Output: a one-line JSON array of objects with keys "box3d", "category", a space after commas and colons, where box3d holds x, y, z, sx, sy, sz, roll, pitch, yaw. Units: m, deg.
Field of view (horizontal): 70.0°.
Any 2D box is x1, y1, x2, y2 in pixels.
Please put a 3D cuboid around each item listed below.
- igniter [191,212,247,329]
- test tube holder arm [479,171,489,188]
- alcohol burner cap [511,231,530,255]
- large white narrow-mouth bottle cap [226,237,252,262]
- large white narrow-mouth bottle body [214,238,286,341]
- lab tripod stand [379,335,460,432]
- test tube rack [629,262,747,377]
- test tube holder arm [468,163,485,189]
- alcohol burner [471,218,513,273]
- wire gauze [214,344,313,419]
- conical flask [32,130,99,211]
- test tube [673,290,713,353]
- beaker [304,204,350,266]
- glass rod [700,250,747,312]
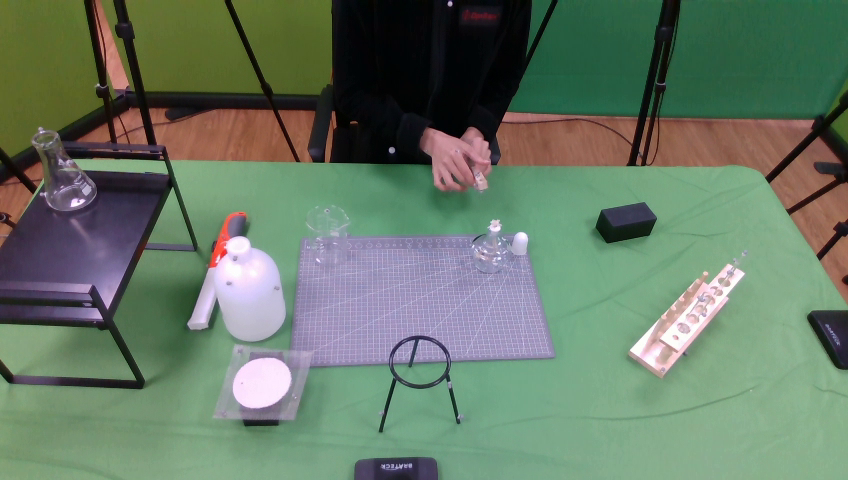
[{"box3d": [-0.376, 0.047, 1.121, 0.057, 0.025, 0.275, -4, 46, 6], "category": "igniter"}, {"box3d": [0.109, -0.113, 1.127, 0.010, 0.015, 0.087, -5, 18, -3], "category": "test tube holder arm"}, {"box3d": [0.191, 0.003, 1.188, 0.034, 0.048, 0.033, 2, 46, -2], "category": "alcohol burner cap"}, {"box3d": [-0.282, 0.014, 0.923, 0.038, 0.024, 0.037, 2, 46, -2], "category": "large white narrow-mouth bottle cap"}, {"box3d": [-0.285, 0.073, 0.986, 0.102, 0.195, 0.101, 2, 46, -2], "category": "large white narrow-mouth bottle body"}, {"box3d": [-0.011, 0.214, 0.911, 0.148, 0.132, 0.147, 1, 45, 0], "category": "lab tripod stand"}, {"box3d": [0.464, 0.126, 1.061, 0.242, 0.085, 0.066, -34, 56, -31], "category": "test tube rack"}, {"box3d": [0.100, -0.126, 1.169, 0.013, 0.015, 0.177, -5, 18, -3], "category": "test tube holder arm"}, {"box3d": [0.128, 0.005, 1.132, 0.078, 0.120, 0.077, 0, 47, 0], "category": "alcohol burner"}, {"box3d": [-0.241, 0.213, 0.915, 0.121, 0.011, 0.124, 5, 46, 1], "category": "wire gauze"}, {"box3d": [-0.565, -0.111, 0.944, 0.075, 0.122, 0.075, 2, 46, -2], "category": "conical flask"}, {"box3d": [0.429, 0.135, 0.981, 0.017, 0.151, 0.017, 4, 44, -4], "category": "test tube"}, {"box3d": [-0.178, -0.006, 1.132, 0.084, 0.101, 0.073, 4, 46, -1], "category": "beaker"}, {"box3d": [0.500, 0.075, 1.021, 0.008, 0.201, 0.008, 0, 54, 1], "category": "glass rod"}]
